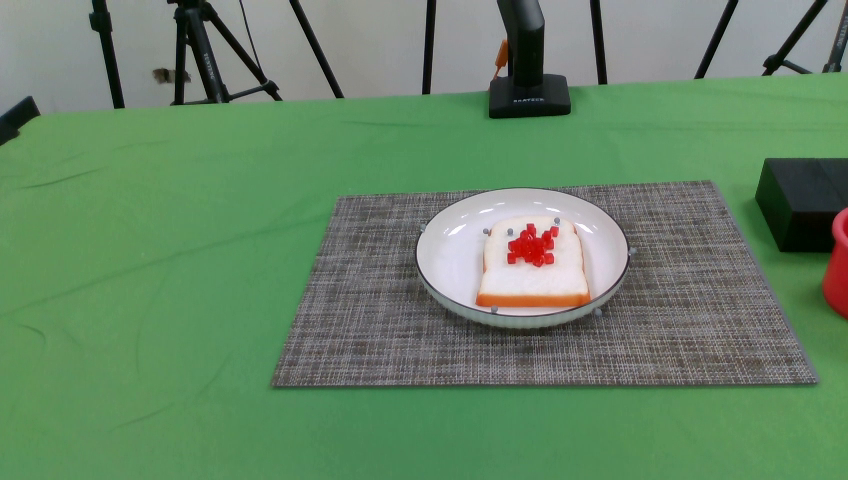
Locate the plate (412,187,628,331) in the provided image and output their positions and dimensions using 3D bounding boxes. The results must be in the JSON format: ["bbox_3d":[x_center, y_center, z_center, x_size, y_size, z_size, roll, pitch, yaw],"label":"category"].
[{"bbox_3d":[0.093,0.018,0.606,0.209,0.038,0.207,-4,37,4],"label":"plate"}]

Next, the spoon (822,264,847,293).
[{"bbox_3d":[0.427,0.004,0.488,0.022,0.194,0.041,47,45,-7],"label":"spoon"}]

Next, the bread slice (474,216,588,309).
[{"bbox_3d":[0.105,0.019,0.606,0.105,0.019,0.130,0,38,8],"label":"bread slice"}]
